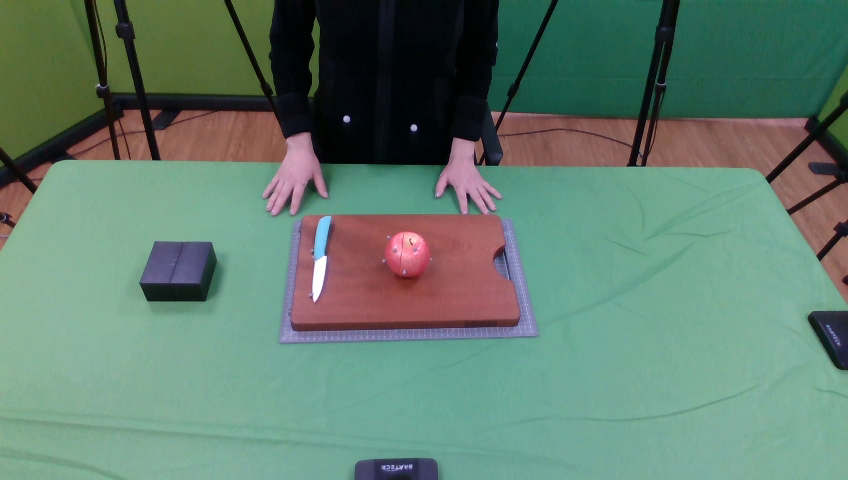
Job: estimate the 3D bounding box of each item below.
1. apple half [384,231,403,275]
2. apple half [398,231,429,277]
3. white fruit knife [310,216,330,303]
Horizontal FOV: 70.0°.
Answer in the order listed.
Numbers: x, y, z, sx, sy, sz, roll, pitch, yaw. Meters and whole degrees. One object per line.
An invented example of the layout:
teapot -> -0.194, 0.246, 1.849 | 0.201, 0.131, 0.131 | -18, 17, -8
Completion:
apple half -> -0.056, 0.025, 1.093 | 0.033, 0.081, 0.081 | 5, 46, -3
apple half -> -0.018, 0.028, 1.095 | 0.053, 0.075, 0.080 | 6, 42, -4
white fruit knife -> -0.194, 0.032, 1.116 | 0.027, 0.016, 0.206 | -8, 47, 6
